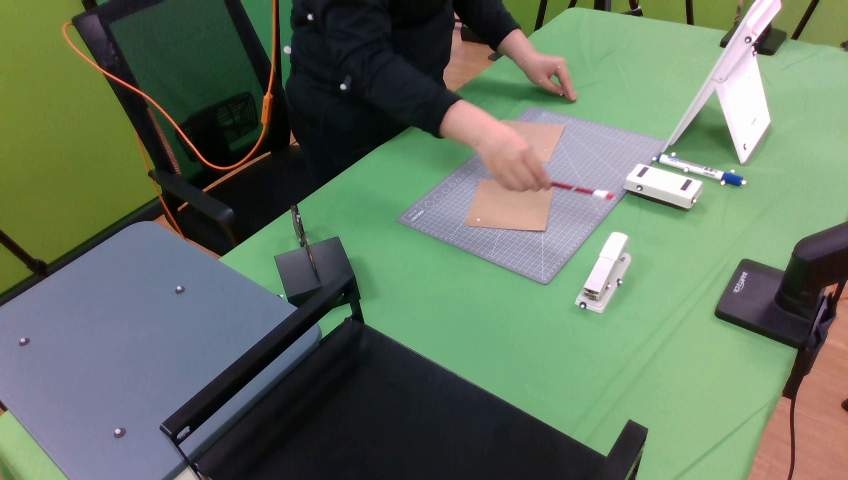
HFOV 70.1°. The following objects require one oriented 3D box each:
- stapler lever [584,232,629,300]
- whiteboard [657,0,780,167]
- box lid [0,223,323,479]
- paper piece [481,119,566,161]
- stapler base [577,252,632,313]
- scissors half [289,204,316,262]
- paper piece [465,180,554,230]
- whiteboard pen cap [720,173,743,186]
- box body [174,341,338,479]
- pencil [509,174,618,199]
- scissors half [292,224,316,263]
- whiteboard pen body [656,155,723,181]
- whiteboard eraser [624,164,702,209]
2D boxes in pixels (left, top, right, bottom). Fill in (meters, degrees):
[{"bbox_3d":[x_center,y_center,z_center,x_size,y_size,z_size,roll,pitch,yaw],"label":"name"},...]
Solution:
[{"bbox_3d":[0.261,0.034,0.858,0.026,0.040,0.118,16,46,29],"label":"stapler lever"},{"bbox_3d":[0.571,-0.272,1.038,0.143,0.306,0.218,37,54,17],"label":"whiteboard"},{"bbox_3d":[-0.318,0.109,0.671,0.368,0.015,0.264,24,49,31],"label":"box lid"},{"bbox_3d":[0.197,-0.199,1.188,0.135,0.004,0.135,11,44,21],"label":"paper piece"},{"bbox_3d":[0.264,0.051,0.875,0.041,0.024,0.131,16,47,29],"label":"stapler base"},{"bbox_3d":[-0.189,-0.011,0.945,0.013,0.040,0.173,-14,37,-18],"label":"scissors half"},{"bbox_3d":[0.149,-0.062,1.035,0.138,0.009,0.136,5,38,16],"label":"paper piece"},{"bbox_3d":[0.519,-0.103,1.020,0.033,0.018,0.018,23,49,29],"label":"whiteboard pen cap"},{"bbox_3d":[-0.311,0.165,0.720,0.361,0.161,0.255,23,48,32],"label":"box body"},{"bbox_3d":[0.208,-0.086,0.928,0.192,0.012,0.012,18,46,42],"label":"pencil"},{"bbox_3d":[-0.187,0.007,0.954,0.013,0.040,0.174,-19,21,-15],"label":"scissors half"},{"bbox_3d":[0.475,-0.123,1.052,0.139,0.017,0.017,24,50,32],"label":"whiteboard pen body"},{"bbox_3d":[0.396,-0.087,1.003,0.112,0.042,0.056,22,47,31],"label":"whiteboard eraser"}]
